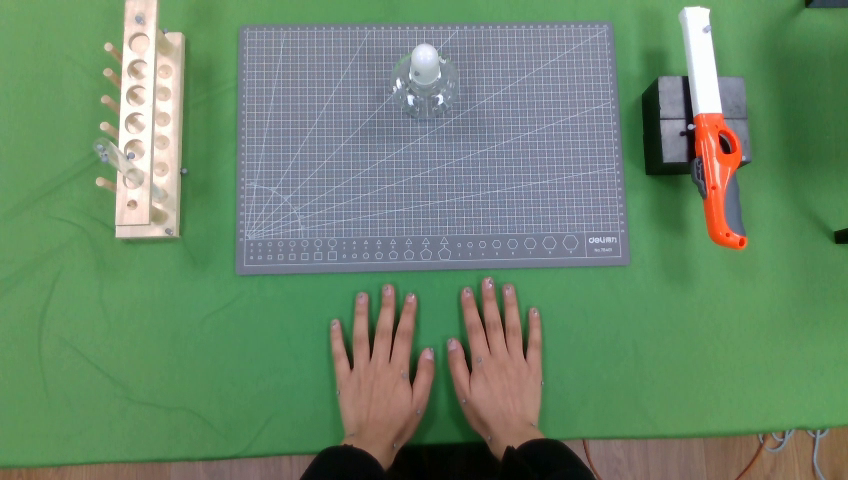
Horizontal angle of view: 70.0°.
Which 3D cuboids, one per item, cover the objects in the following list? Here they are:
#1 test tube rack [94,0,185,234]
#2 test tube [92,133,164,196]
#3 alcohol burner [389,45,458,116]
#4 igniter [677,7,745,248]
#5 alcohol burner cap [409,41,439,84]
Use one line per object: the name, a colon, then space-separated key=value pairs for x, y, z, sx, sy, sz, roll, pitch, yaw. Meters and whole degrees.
test tube rack: x=-0.313 y=-0.133 z=0.661 sx=0.067 sy=0.085 sz=0.241 roll=-1 pitch=82 yaw=-2
test tube: x=-0.291 y=-0.071 z=0.604 sx=0.017 sy=0.150 sz=0.017 roll=1 pitch=77 yaw=-5
alcohol burner: x=0.000 y=-0.182 z=0.663 sx=0.078 sy=0.119 sz=0.077 roll=0 pitch=82 yaw=0
igniter: x=0.313 y=-0.126 z=0.665 sx=0.057 sy=0.025 sz=0.275 roll=-2 pitch=79 yaw=-5
alcohol burner cap: x=-0.001 y=-0.187 z=0.628 sx=0.034 sy=0.048 sz=0.033 roll=0 pitch=82 yaw=0
